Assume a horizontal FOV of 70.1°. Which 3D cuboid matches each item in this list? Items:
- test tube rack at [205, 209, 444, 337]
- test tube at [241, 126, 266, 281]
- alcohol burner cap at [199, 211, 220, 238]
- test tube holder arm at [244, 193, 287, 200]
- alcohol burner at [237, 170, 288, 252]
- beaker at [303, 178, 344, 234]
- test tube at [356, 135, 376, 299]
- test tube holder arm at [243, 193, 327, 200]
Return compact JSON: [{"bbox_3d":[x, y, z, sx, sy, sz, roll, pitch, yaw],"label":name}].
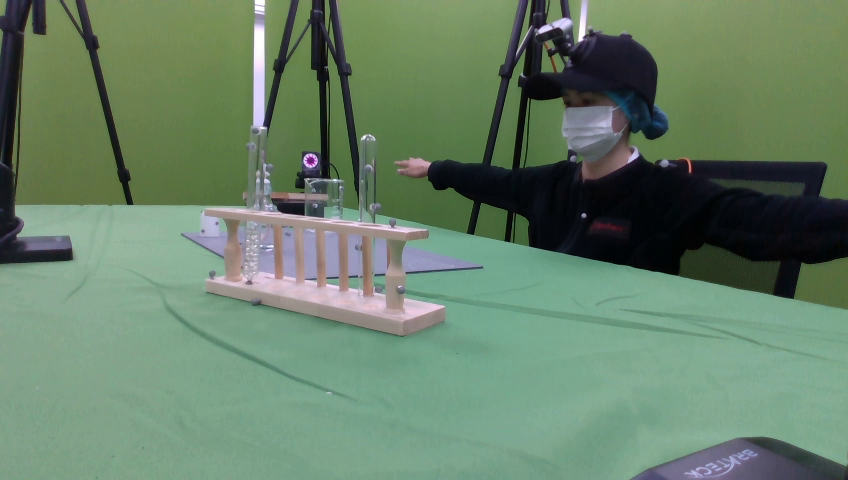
[{"bbox_3d":[-0.100,0.021,0.565,0.241,0.085,0.067,7,9,32],"label":"test tube rack"},{"bbox_3d":[-0.164,-0.034,0.582,0.017,0.150,0.017,6,9,-1],"label":"test tube"},{"bbox_3d":[-0.356,-0.027,1.002,0.034,0.048,0.034,2,7,0],"label":"alcohol burner cap"},{"bbox_3d":[-0.322,-0.089,1.232,0.088,0.015,0.010,-2,3,-32],"label":"test tube holder arm"},{"bbox_3d":[-0.236,-0.042,0.882,0.078,0.119,0.078,2,9,0],"label":"alcohol burner"},{"bbox_3d":[-0.189,-0.063,1.119,0.073,0.100,0.084,6,9,28],"label":"beaker"},{"bbox_3d":[-0.053,-0.019,0.550,0.017,0.150,0.017,2,9,0],"label":"test tube"},{"bbox_3d":[-0.287,-0.090,1.261,0.179,0.015,0.013,-2,2,-33],"label":"test tube holder arm"}]
